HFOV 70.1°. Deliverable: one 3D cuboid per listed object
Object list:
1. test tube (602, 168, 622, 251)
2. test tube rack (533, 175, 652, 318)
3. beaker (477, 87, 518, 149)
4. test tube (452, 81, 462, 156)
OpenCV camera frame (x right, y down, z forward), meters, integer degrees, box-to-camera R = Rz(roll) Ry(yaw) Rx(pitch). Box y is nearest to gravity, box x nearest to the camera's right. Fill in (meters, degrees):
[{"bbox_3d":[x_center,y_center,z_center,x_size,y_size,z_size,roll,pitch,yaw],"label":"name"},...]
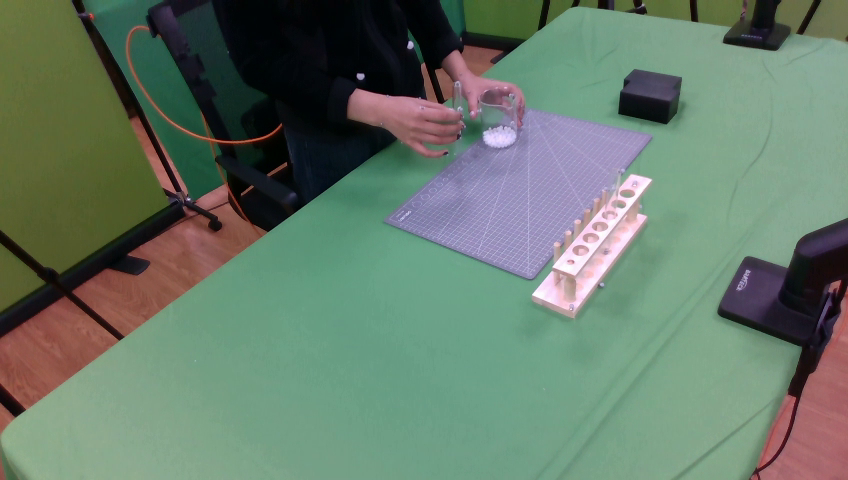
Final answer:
[{"bbox_3d":[0.264,-0.039,0.854,0.017,0.151,0.017,-5,44,6],"label":"test tube"},{"bbox_3d":[0.250,-0.001,0.889,0.066,0.085,0.243,23,49,33],"label":"test tube rack"},{"bbox_3d":[0.147,-0.233,1.167,0.074,0.101,0.083,-26,43,-17],"label":"beaker"},{"bbox_3d":[0.058,-0.210,1.063,0.017,0.151,0.017,-1,45,2],"label":"test tube"}]
